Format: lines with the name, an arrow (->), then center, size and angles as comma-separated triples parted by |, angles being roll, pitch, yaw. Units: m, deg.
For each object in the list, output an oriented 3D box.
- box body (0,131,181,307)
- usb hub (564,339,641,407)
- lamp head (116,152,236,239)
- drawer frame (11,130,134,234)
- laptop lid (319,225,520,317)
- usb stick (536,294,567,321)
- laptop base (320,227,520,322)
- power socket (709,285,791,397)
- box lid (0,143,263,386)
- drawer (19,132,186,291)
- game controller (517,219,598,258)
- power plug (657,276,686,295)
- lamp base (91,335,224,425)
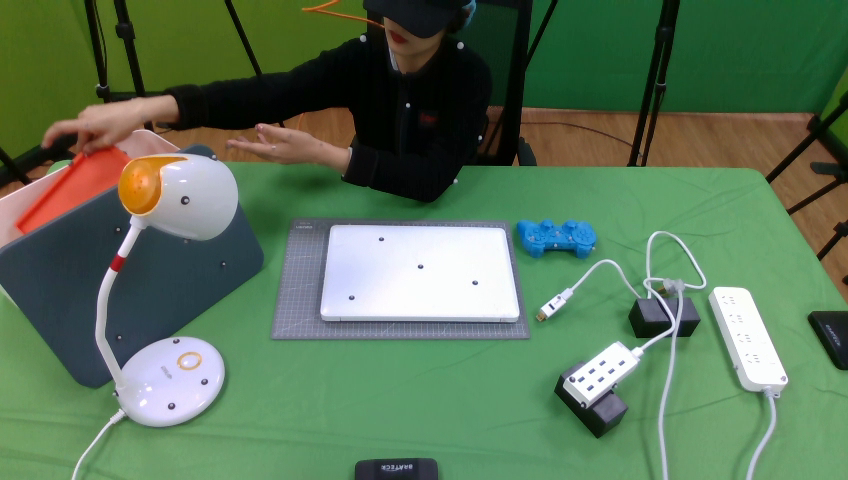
box body -> -0.550, -0.006, 1.068 | 0.253, 0.161, 0.363 | 30, 51, 23
usb hub -> 0.278, 0.205, 0.944 | 0.125, 0.025, 0.049 | -27, 52, -28
lamp head -> -0.315, -0.057, 0.748 | 0.112, 0.112, 0.123 | 26, 10, 20
drawer frame -> -0.548, -0.051, 1.028 | 0.201, 0.083, 0.213 | 32, 79, 24
laptop lid -> -0.008, 0.052, 1.131 | 0.357, 0.013, 0.240 | 2, 44, -2
usb stick -> 0.226, 0.123, 1.083 | 0.059, 0.027, 0.021 | -38, 77, -8
laptop base -> -0.009, 0.062, 1.138 | 0.354, 0.023, 0.234 | 0, 42, -3
power socket -> 0.567, 0.167, 1.064 | 0.072, 0.033, 0.225 | 2, 46, 0
box lid -> -0.444, 0.032, 0.979 | 0.015, 0.264, 0.371 | 13, 42, 41
drawer -> -0.546, -0.051, 1.031 | 0.193, 0.073, 0.211 | 34, 79, 23
game controller -> 0.269, -0.012, 1.210 | 0.155, 0.052, 0.096 | 1, 50, -2
power plug -> 0.450, 0.087, 1.113 | 0.073, 0.052, 0.035 | -13, 72, -55
lamp base -> -0.401, 0.171, 0.892 | 0.160, 0.181, 0.179 | 30, 53, 23
